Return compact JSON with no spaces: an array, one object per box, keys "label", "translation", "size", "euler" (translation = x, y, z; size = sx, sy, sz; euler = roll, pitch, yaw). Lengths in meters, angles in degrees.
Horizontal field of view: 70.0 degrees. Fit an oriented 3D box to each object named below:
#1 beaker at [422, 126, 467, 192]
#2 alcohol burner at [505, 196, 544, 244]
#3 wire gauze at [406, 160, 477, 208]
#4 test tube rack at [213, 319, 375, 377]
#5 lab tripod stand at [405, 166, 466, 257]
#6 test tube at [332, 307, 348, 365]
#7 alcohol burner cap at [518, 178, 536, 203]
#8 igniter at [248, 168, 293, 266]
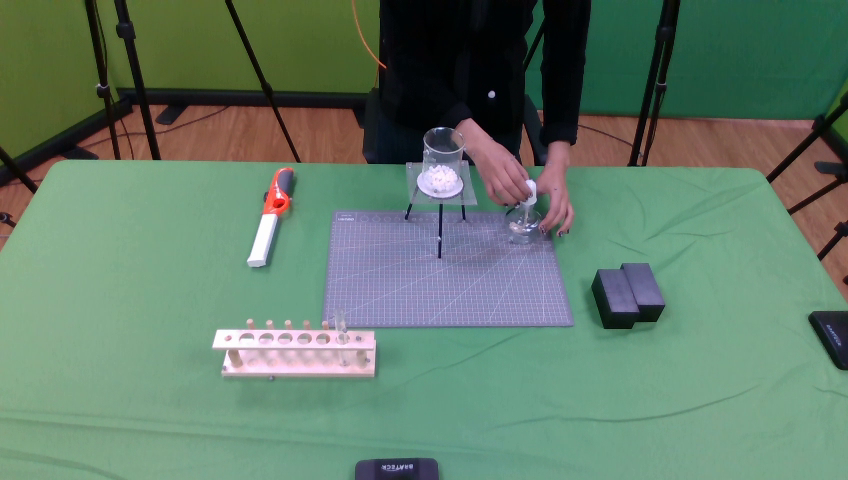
[{"label":"beaker","translation":[0.032,-0.146,1.100],"size":[0.074,0.101,0.083],"euler":[-16,50,-20]},{"label":"alcohol burner","translation":[0.200,-0.050,1.192],"size":[0.078,0.119,0.077],"euler":[2,48,-2]},{"label":"wire gauze","translation":[0.031,-0.107,1.130],"size":[0.125,0.011,0.120],"euler":[1,48,-7]},{"label":"test tube rack","translation":[-0.202,0.170,0.977],"size":[0.242,0.085,0.066],"euler":[1,46,-3]},{"label":"lab tripod stand","translation":[0.030,-0.063,1.180],"size":[0.148,0.132,0.147],"euler":[3,47,-3]},{"label":"test tube","translation":[-0.128,0.151,0.931],"size":[0.017,0.151,0.017],"euler":[1,50,-2]},{"label":"alcohol burner cap","translation":[0.196,-0.097,1.151],"size":[0.034,0.048,0.033],"euler":[-4,44,4]},{"label":"igniter","translation":[-0.307,-0.055,1.225],"size":[0.057,0.025,0.275],"euler":[-3,46,6]}]
